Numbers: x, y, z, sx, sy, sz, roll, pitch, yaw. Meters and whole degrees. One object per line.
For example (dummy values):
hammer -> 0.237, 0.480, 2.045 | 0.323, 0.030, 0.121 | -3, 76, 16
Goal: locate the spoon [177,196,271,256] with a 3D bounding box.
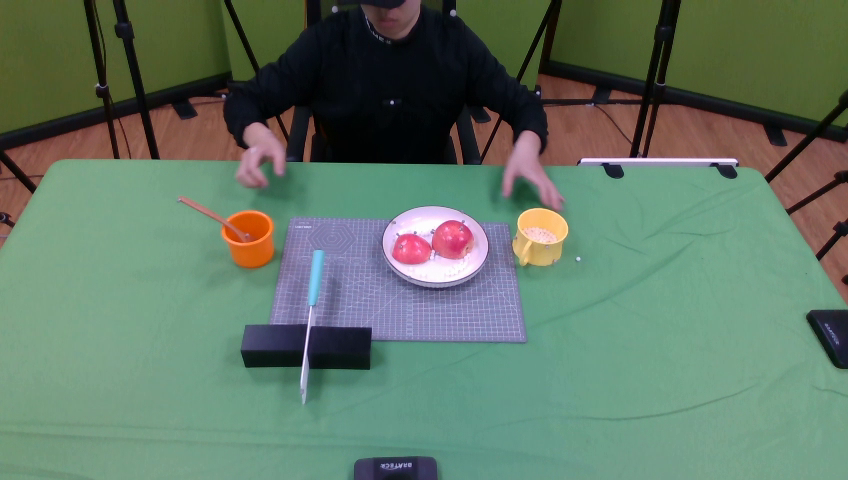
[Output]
spoon -> -0.362, -0.027, 1.108 | 0.021, 0.195, 0.041 | -31, 35, 28

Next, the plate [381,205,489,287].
plate -> 0.021, 0.015, 1.170 | 0.209, 0.038, 0.208 | 2, 46, -2

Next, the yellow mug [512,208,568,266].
yellow mug -> 0.219, 0.002, 1.182 | 0.099, 0.064, 0.130 | 27, 51, 21

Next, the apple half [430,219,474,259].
apple half -> 0.056, -0.007, 1.172 | 0.081, 0.053, 0.074 | -33, 59, -31

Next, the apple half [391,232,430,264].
apple half -> -0.024, 0.009, 1.163 | 0.081, 0.033, 0.081 | 2, 43, -2

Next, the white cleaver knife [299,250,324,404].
white cleaver knife -> -0.194, 0.134, 1.019 | 0.021, 0.066, 0.284 | 5, 50, -6
